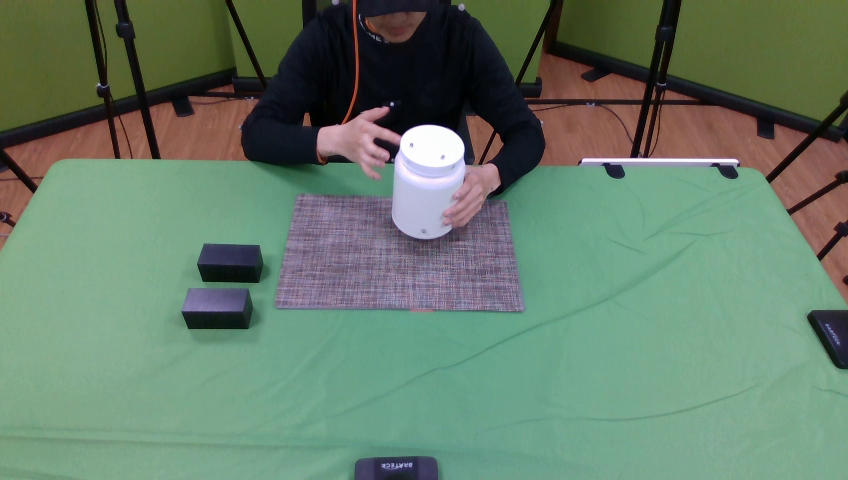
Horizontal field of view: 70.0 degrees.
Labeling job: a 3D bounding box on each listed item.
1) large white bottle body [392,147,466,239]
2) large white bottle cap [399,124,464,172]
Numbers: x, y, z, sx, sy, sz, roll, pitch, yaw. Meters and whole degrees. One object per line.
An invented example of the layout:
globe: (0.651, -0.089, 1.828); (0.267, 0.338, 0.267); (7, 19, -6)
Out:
large white bottle body: (0.008, -0.107, 1.131); (0.131, 0.185, 0.130); (3, 49, -3)
large white bottle cap: (0.014, -0.163, 1.068); (0.115, 0.018, 0.114); (3, 49, -4)
